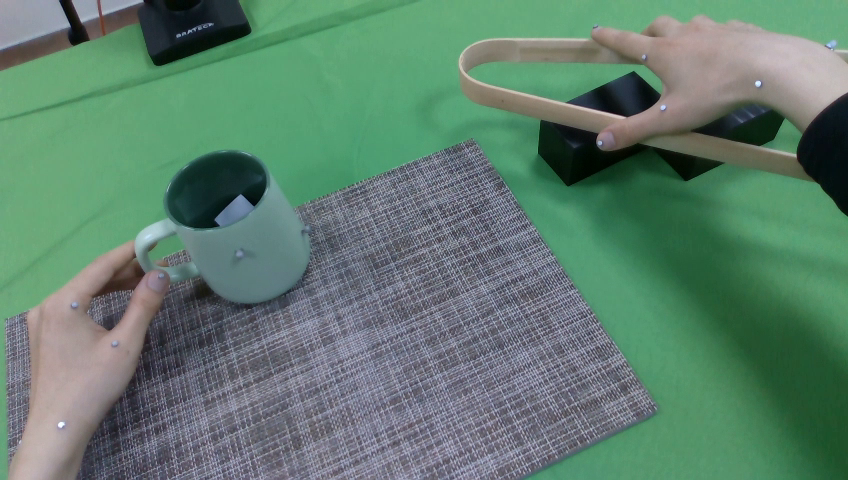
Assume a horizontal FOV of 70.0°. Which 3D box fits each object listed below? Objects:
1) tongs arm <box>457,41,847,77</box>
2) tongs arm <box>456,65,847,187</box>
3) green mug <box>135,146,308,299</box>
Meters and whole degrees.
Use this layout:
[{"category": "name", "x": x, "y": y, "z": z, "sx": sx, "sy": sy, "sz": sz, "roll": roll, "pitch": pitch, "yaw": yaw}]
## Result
[{"category": "tongs arm", "x": 0.223, "y": -0.153, "z": 0.536, "sx": 0.384, "sy": 0.027, "sz": 0.050, "roll": 7, "pitch": 59, "yaw": 12}, {"category": "tongs arm", "x": 0.201, "y": -0.090, "z": 0.497, "sx": 0.385, "sy": 0.028, "sz": 0.028, "roll": 17, "pitch": 66, "yaw": 18}, {"category": "green mug", "x": -0.163, "y": -0.005, "z": 0.486, "sx": 0.125, "sy": 0.106, "sz": 0.091, "roll": -23, "pitch": 57, "yaw": -10}]
